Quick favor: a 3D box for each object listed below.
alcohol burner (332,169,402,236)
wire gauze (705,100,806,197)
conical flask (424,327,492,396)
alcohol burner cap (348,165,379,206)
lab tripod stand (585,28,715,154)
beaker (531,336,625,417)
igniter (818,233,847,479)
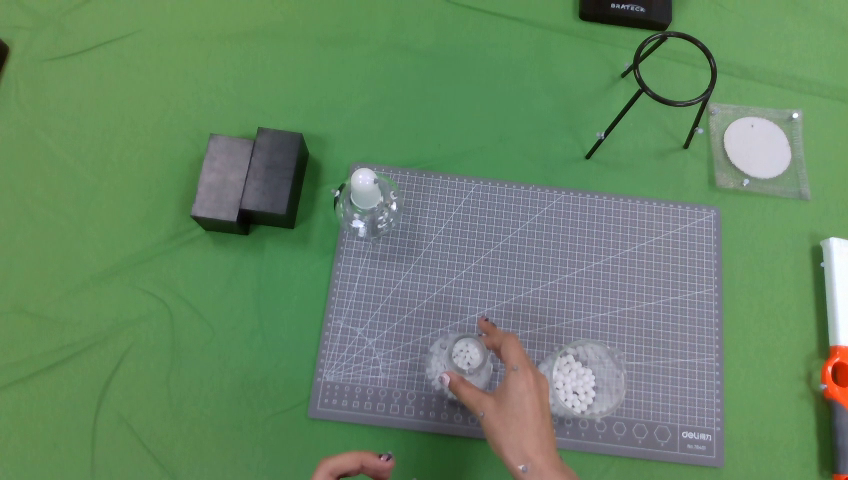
[{"bbox_3d":[-0.064,-0.048,0.660,0.078,0.119,0.077,0,74,0],"label":"alcohol burner"},{"bbox_3d":[0.416,-0.118,0.758,0.125,0.011,0.121,6,74,-2],"label":"wire gauze"},{"bbox_3d":[0.038,0.118,0.613,0.075,0.122,0.075,0,73,-1],"label":"conical flask"},{"bbox_3d":[-0.063,-0.060,0.626,0.034,0.048,0.033,2,66,-4],"label":"alcohol burner cap"},{"bbox_3d":[0.260,-0.165,0.700,0.148,0.132,0.147,1,76,-2],"label":"lab tripod stand"},{"bbox_3d":[0.155,0.140,0.623,0.084,0.101,0.073,-34,78,-12],"label":"beaker"},{"bbox_3d":[0.469,0.126,0.680,0.057,0.025,0.275,10,73,-11],"label":"igniter"}]
